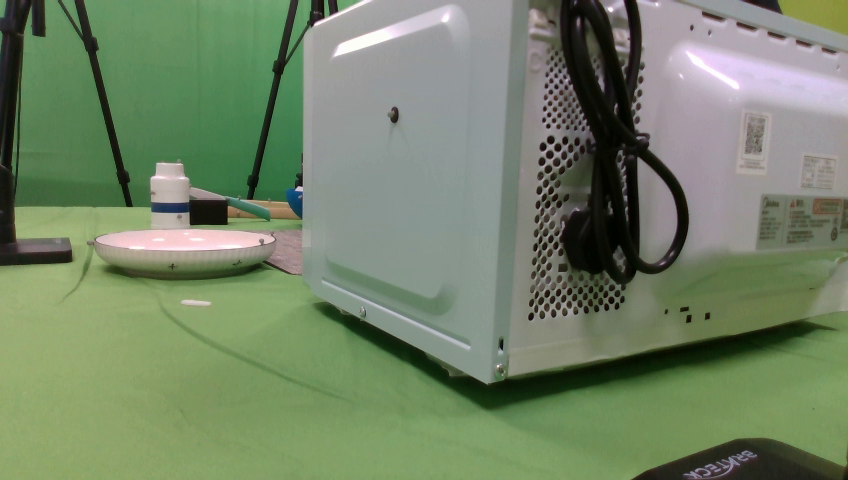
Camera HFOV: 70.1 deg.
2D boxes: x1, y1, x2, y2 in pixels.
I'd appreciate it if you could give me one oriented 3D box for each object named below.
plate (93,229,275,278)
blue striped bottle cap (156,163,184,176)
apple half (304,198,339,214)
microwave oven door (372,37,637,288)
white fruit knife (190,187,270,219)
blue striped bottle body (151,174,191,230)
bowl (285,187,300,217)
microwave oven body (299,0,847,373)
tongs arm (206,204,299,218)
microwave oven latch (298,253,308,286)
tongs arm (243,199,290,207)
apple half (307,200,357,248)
[{"bbox_3d":[-0.291,0.016,0.749,0.208,0.039,0.207,2,7,0],"label":"plate"},{"bbox_3d":[-0.438,-0.121,1.044,0.044,0.020,0.044,4,6,0],"label":"blue striped bottle cap"},{"bbox_3d":[-0.217,-0.073,1.274,0.081,0.033,0.081,1,9,0],"label":"apple half"},{"bbox_3d":[0.110,-0.080,0.685,0.358,0.243,0.039,-2,9,-33],"label":"microwave oven door"},{"bbox_3d":[-0.413,-0.081,1.269,0.208,0.027,0.016,17,13,-42],"label":"white fruit knife"},{"bbox_3d":[-0.439,-0.071,1.052,0.063,0.120,0.063,2,8,0],"label":"blue striped bottle body"},{"bbox_3d":[-0.217,-0.069,1.274,0.151,0.077,0.151,2,8,0],"label":"bowl"},{"bbox_3d":[0.152,-0.055,0.542,0.444,0.260,0.324,-2,7,-33],"label":"microwave oven body"},{"bbox_3d":[-0.302,-0.065,1.406,0.389,0.028,0.028,1,4,-15],"label":"tongs arm"},{"bbox_3d":[-0.081,0.028,0.582,0.079,0.029,0.030,-2,7,-33],"label":"microwave oven latch"},{"bbox_3d":[-0.309,-0.078,1.486,0.385,0.026,0.050,3,7,-2],"label":"tongs arm"},{"bbox_3d":[-0.136,-0.024,0.942,0.053,0.074,0.081,15,10,38],"label":"apple half"}]
